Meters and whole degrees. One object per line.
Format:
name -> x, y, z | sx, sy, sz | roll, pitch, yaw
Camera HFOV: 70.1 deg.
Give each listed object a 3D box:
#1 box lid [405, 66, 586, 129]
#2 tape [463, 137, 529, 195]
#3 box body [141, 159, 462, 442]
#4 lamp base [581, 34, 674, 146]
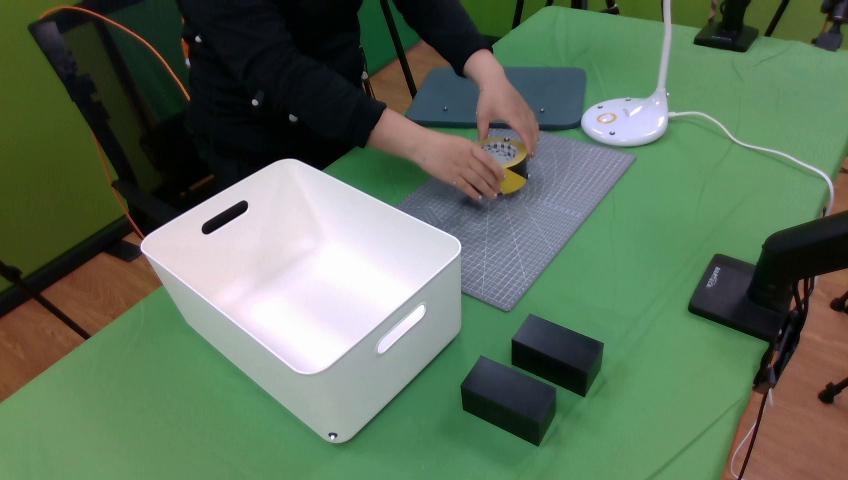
box lid -> 0.163, -0.317, 1.322 | 0.370, 0.015, 0.263 | 5, 42, 14
tape -> 0.125, -0.129, 1.042 | 0.117, 0.053, 0.116 | -3, 36, 3
box body -> -0.153, 0.063, 0.809 | 0.361, 0.161, 0.255 | 27, 51, 33
lamp base -> 0.392, -0.291, 1.129 | 0.180, 0.181, 0.159 | -11, 41, -8
